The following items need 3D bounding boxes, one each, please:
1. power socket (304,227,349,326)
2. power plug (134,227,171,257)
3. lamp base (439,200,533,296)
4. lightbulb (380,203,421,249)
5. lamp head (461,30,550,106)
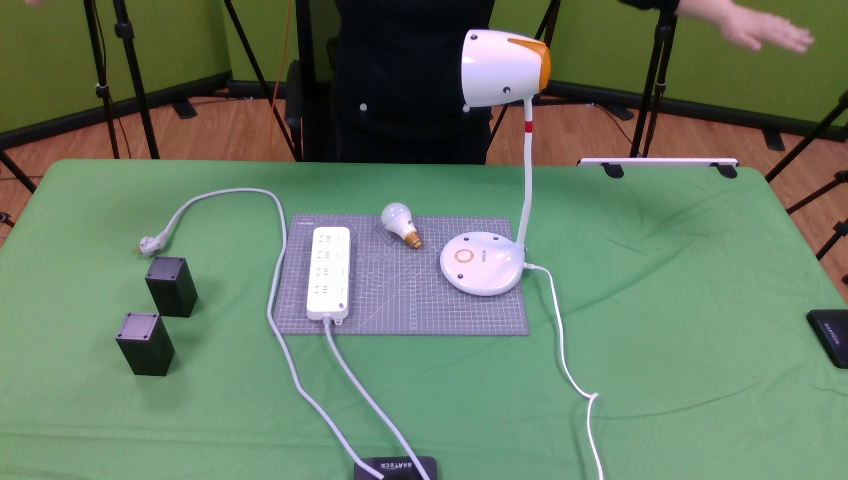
[{"bbox_3d":[-0.177,0.059,1.115,0.072,0.033,0.225,-1,46,-4],"label":"power socket"},{"bbox_3d":[-0.514,0.006,1.152,0.052,0.035,0.072,-6,22,8],"label":"power plug"},{"bbox_3d":[0.126,-0.011,1.103,0.179,0.181,0.159,2,46,-6],"label":"lamp base"},{"bbox_3d":[-0.043,-0.026,1.197,0.059,0.060,0.107,-29,69,-28],"label":"lightbulb"},{"bbox_3d":[0.122,-0.250,0.892,0.123,0.113,0.112,8,45,13],"label":"lamp head"}]
